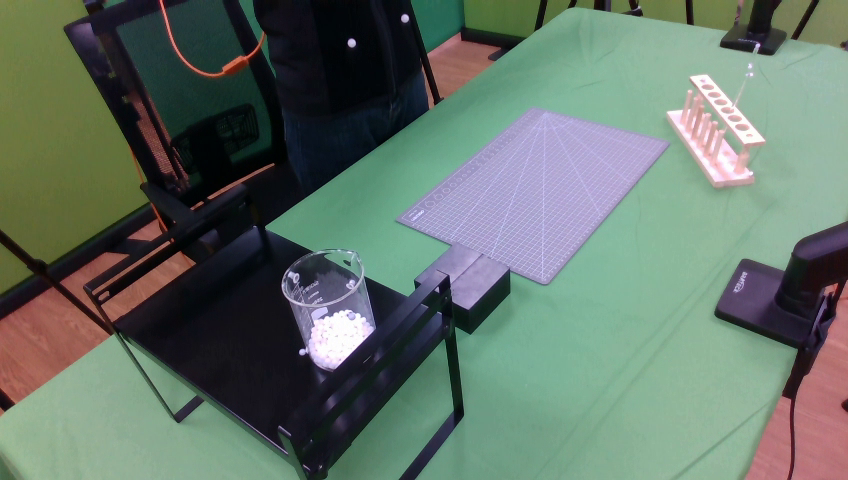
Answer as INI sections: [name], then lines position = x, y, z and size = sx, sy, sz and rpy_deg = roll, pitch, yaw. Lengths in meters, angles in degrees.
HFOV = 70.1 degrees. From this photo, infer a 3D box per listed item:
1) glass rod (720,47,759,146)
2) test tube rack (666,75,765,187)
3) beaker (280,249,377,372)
[glass rod]
position = 0.527, -0.234, 1.018
size = 0.008, 0.200, 0.008
rpy_deg = -2, 49, 3
[test tube rack]
position = 0.512, -0.201, 1.082
size = 0.067, 0.085, 0.241
rpy_deg = -6, 41, 2
[beaker]
position = -0.084, 0.068, 0.572
size = 0.073, 0.101, 0.084
rpy_deg = 20, 47, 28
